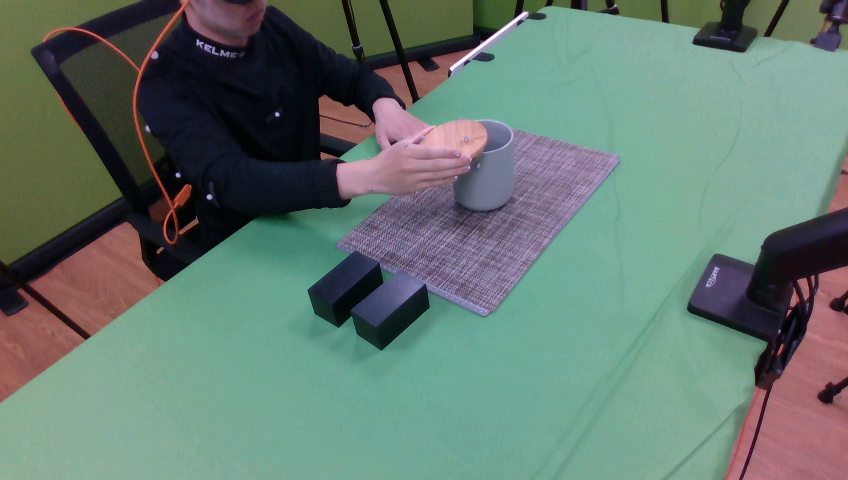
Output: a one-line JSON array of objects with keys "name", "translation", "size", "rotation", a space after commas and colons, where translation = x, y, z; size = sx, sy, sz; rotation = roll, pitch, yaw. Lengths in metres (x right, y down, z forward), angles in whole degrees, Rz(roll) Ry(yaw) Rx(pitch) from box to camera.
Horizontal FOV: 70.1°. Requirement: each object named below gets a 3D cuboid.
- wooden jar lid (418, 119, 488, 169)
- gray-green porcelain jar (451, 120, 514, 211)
[{"name": "wooden jar lid", "translation": [0.045, -0.144, 0.918], "size": [0.108, 0.021, 0.108], "rotation": [-12, 41, 11]}, {"name": "gray-green porcelain jar", "translation": [0.098, -0.120, 1.009], "size": [0.106, 0.127, 0.105], "rotation": [-4, 41, 4]}]
